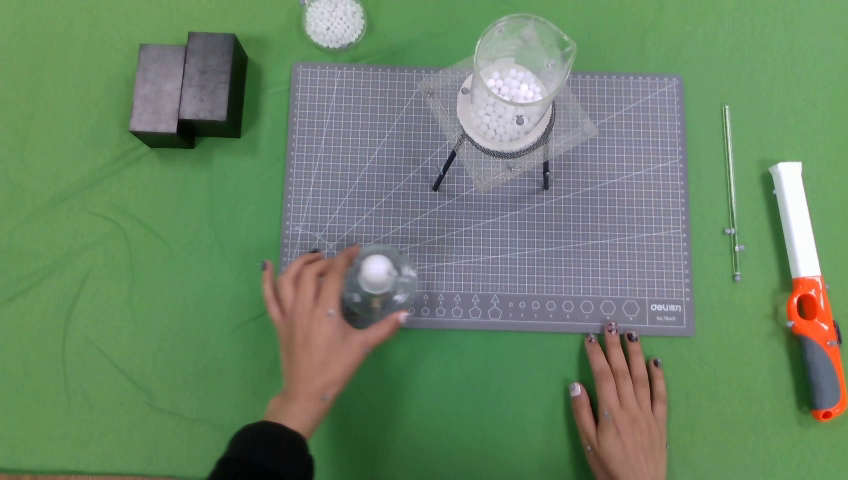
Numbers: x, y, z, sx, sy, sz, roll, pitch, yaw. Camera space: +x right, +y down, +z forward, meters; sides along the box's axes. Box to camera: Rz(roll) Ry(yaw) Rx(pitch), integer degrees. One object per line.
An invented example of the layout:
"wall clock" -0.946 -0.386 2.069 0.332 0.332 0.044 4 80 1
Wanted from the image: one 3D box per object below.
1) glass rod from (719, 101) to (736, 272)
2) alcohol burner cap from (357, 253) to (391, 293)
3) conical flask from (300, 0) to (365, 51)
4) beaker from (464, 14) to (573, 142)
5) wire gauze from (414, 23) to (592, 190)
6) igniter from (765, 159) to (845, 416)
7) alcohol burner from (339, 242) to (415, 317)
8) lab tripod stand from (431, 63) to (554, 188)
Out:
"glass rod" 0.342 -0.062 0.681 0.008 0.008 0.199 1 80 -1
"alcohol burner cap" -0.046 0.028 0.566 0.034 0.048 0.033 2 72 -6
"conical flask" -0.106 -0.265 0.651 0.075 0.122 0.075 0 79 -1
"beaker" 0.074 -0.130 0.507 0.084 0.100 0.073 -19 82 -4
"wire gauze" 0.073 -0.122 0.554 0.125 0.011 0.121 -27 85 -7
"igniter" 0.410 0.047 0.653 0.057 0.025 0.275 -3 80 -12
"alcohol burner" -0.047 0.037 0.601 0.078 0.119 0.077 0 78 -2
"lab tripod stand" 0.072 -0.106 0.618 0.148 0.132 0.148 0 82 0
